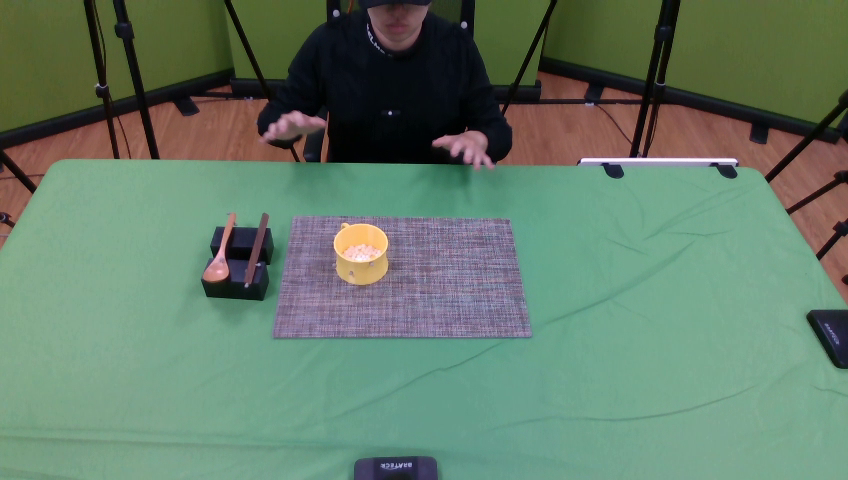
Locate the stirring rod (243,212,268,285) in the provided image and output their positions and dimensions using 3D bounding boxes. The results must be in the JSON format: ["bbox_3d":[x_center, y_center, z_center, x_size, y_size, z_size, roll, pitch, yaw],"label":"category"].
[{"bbox_3d":[-0.305,0.012,1.101,0.014,0.006,0.175,31,38,-28],"label":"stirring rod"}]

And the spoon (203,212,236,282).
[{"bbox_3d":[-0.361,0.009,1.097,0.041,0.022,0.192,-1,44,-2],"label":"spoon"}]

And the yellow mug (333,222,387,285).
[{"bbox_3d":[-0.127,0.016,1.139,0.100,0.064,0.130,-23,51,-24],"label":"yellow mug"}]
